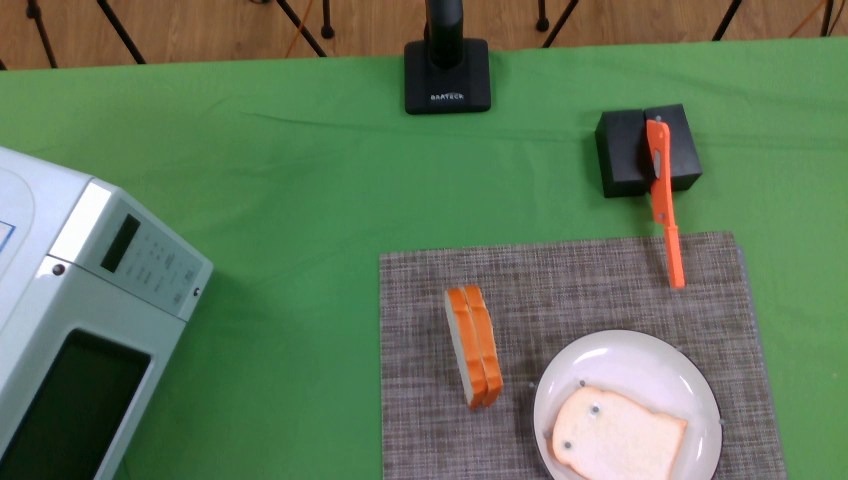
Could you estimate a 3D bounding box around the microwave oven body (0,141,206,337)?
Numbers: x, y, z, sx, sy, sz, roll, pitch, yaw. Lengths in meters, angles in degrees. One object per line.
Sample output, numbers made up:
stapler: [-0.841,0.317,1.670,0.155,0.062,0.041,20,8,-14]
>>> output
microwave oven body: [-0.489,0.129,0.616,0.325,0.262,0.440,18,74,8]

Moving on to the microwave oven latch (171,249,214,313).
microwave oven latch: [-0.286,0.047,0.738,0.030,0.030,0.079,20,74,8]

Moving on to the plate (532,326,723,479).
plate: [0.223,0.202,0.681,0.207,0.039,0.206,-1,71,2]

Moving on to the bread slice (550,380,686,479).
bread slice: [0.210,0.219,0.673,0.134,0.018,0.106,20,70,11]

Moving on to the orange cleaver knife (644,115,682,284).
orange cleaver knife: [0.291,-0.053,0.745,0.012,0.077,0.211,-7,92,2]

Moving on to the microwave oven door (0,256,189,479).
microwave oven door: [-0.365,0.209,0.579,0.039,0.245,0.354,17,73,9]
